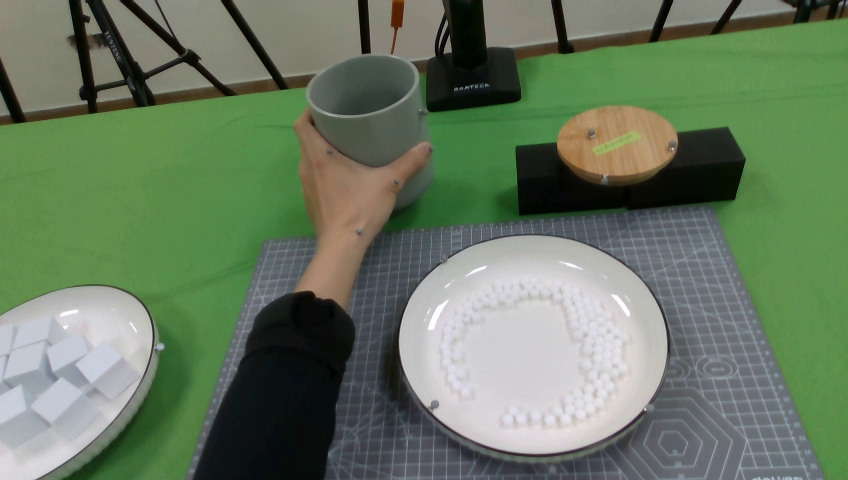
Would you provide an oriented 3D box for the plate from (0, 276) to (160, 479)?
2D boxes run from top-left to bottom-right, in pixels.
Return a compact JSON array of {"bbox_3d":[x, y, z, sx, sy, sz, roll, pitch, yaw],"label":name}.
[{"bbox_3d":[-0.327,0.121,0.521,0.207,0.039,0.205,-5,45,6],"label":"plate"}]

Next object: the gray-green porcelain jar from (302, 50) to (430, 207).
[{"bbox_3d":[-0.051,-0.104,0.595,0.106,0.128,0.105,-5,47,6],"label":"gray-green porcelain jar"}]

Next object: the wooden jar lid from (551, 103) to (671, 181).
[{"bbox_3d":[0.176,-0.093,0.574,0.108,0.021,0.107,-5,47,6],"label":"wooden jar lid"}]

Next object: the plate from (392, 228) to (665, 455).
[{"bbox_3d":[0.080,0.075,0.483,0.209,0.038,0.207,-6,45,6],"label":"plate"}]
